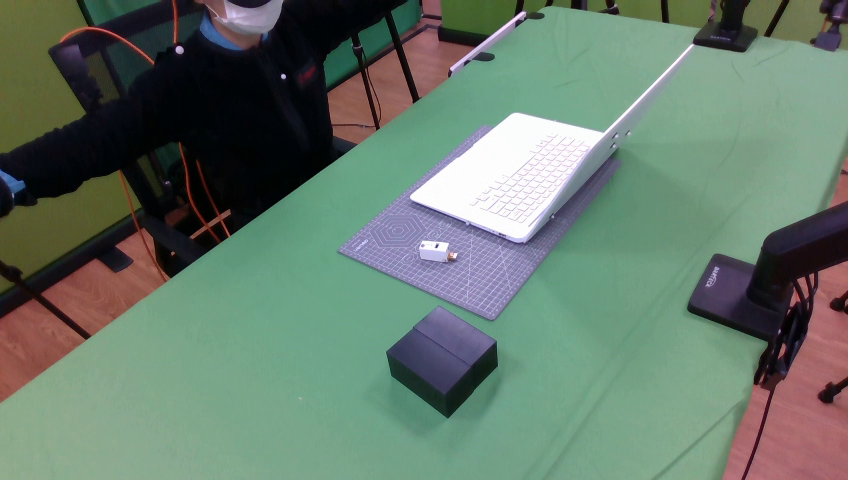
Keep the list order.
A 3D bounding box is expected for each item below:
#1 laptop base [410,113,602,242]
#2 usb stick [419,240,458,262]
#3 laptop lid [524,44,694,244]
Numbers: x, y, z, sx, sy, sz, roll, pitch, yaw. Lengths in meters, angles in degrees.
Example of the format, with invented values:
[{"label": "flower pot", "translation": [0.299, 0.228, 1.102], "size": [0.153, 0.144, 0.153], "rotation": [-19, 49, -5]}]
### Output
[{"label": "laptop base", "translation": [0.171, -0.127, 1.096], "size": [0.233, 0.023, 0.355], "rotation": [21, 47, 34]}, {"label": "usb stick", "translation": [0.023, 0.018, 0.936], "size": [0.059, 0.027, 0.021], "rotation": [9, 42, 14]}, {"label": "laptop lid", "translation": [0.290, -0.151, 0.941], "size": [0.013, 0.241, 0.358], "rotation": [40, 54, 12]}]
